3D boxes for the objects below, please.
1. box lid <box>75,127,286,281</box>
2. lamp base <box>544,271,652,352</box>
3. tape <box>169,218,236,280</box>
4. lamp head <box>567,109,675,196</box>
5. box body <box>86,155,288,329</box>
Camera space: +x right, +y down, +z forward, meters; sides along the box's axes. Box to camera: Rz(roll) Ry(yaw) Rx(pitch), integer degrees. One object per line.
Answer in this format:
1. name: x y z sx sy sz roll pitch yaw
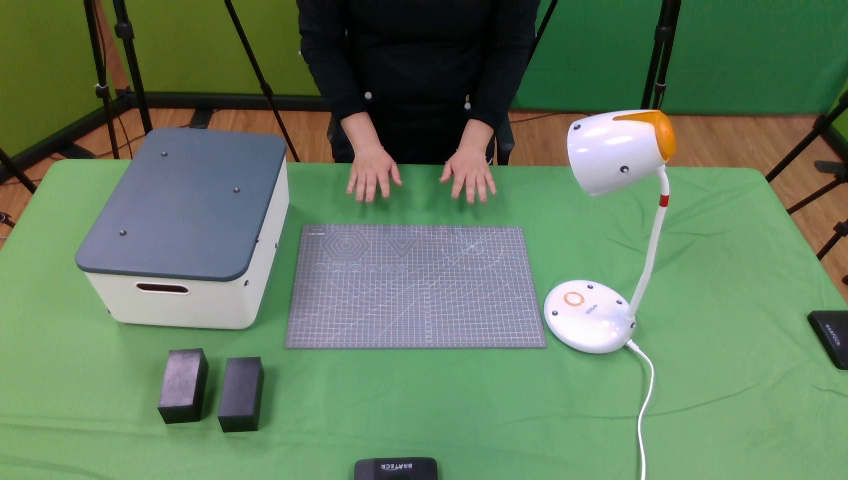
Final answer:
1. box lid: -0.398 -0.075 1.039 0.263 0.015 0.369 4 45 -1
2. lamp base: 0.309 0.086 1.029 0.178 0.181 0.160 32 52 21
3. tape: -0.408 0.015 1.122 0.117 0.053 0.116 2 46 -2
4. lamp head: 0.272 -0.123 0.818 0.122 0.113 0.112 -9 35 37
5. box body: -0.401 -0.025 1.094 0.254 0.161 0.362 3 46 -1
